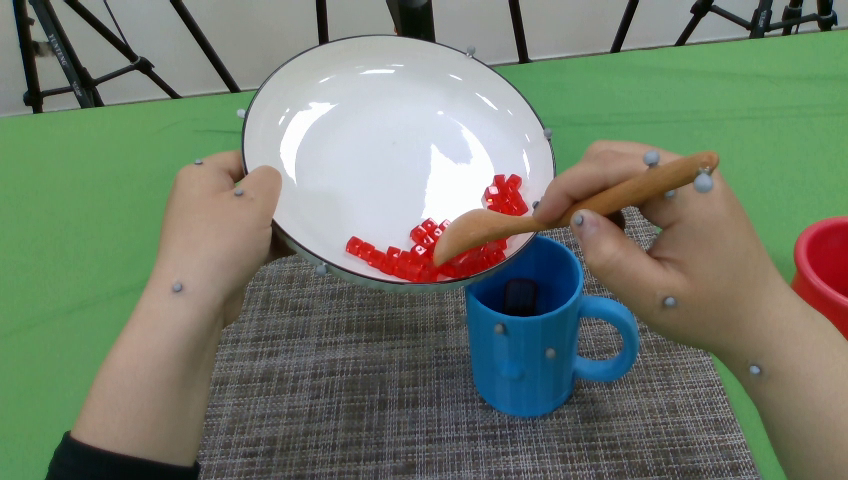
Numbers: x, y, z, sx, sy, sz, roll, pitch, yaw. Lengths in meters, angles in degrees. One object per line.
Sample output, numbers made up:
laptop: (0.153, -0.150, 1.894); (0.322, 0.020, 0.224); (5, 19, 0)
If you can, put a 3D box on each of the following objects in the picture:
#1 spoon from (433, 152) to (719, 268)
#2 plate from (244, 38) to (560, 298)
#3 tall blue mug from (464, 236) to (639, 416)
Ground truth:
spoon: (0.058, -0.011, 0.296); (0.041, 0.022, 0.193); (-50, 19, -28)
plate: (-0.013, -0.051, 0.411); (0.208, 0.039, 0.205); (5, 59, -8)
tall blue mug: (0.084, 0.058, 0.419); (0.107, 0.109, 0.077); (-10, 42, -1)
